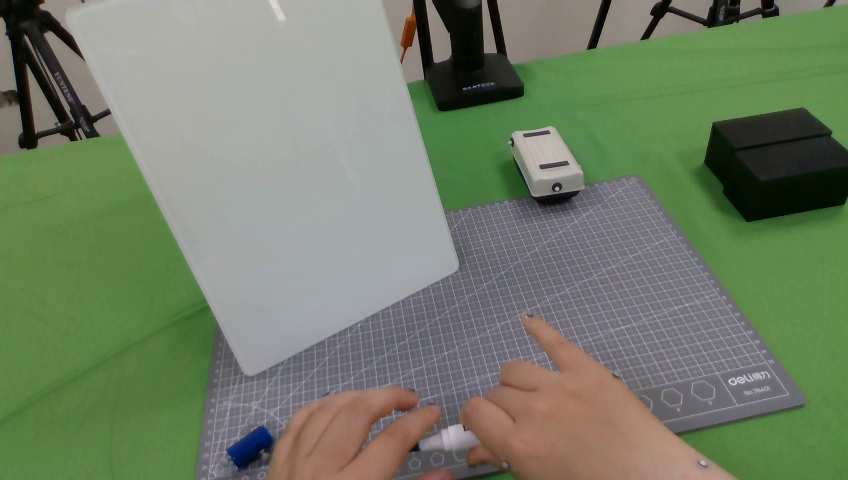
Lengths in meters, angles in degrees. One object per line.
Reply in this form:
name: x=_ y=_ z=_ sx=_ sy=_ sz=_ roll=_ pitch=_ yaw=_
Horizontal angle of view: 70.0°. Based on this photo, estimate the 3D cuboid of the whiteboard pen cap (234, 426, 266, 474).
whiteboard pen cap: x=-0.130 y=0.156 z=0.449 sx=0.018 sy=0.018 sz=0.033 roll=1 pitch=59 yaw=11

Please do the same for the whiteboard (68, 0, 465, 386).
whiteboard: x=-0.123 y=-0.073 z=0.538 sx=0.217 sy=0.308 sz=0.142 roll=-26 pitch=25 yaw=-18

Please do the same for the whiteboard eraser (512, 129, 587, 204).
whiteboard eraser: x=0.135 y=-0.080 z=0.661 sx=0.055 sy=0.042 sz=0.111 roll=-11 pitch=37 yaw=0

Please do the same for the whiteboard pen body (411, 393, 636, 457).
whiteboard pen body: x=0.061 y=0.116 z=0.373 sx=0.141 sy=0.017 sz=0.017 roll=-13 pitch=41 yaw=1
